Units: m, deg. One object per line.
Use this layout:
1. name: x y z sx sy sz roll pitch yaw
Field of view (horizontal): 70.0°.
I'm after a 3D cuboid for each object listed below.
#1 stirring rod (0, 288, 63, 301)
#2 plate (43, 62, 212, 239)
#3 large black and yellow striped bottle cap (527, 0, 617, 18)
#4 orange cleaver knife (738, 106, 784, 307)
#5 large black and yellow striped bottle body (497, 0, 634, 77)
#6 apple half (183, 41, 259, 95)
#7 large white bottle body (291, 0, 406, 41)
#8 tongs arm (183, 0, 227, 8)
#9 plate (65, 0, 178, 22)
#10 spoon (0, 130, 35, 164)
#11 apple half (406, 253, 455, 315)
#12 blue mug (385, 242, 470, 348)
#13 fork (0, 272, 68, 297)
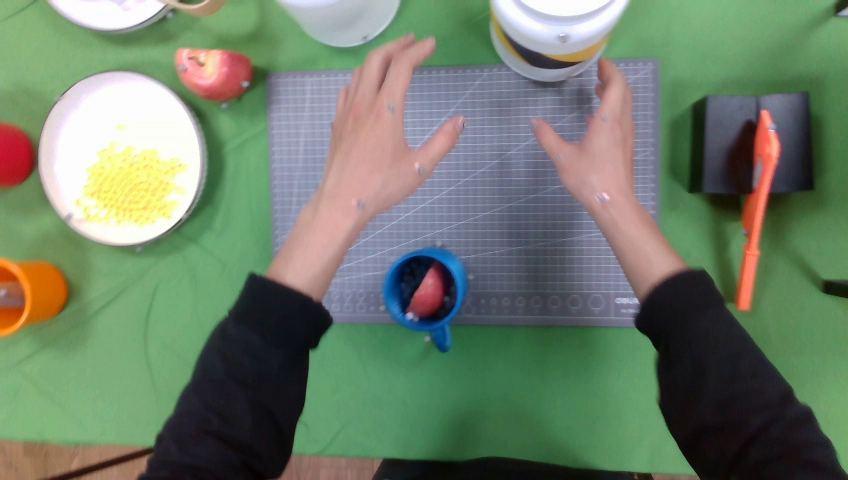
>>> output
1. stirring rod: -0.522 0.061 0.703 0.177 0.006 0.014 6 83 -34
2. plate: -0.350 -0.106 0.728 0.209 0.038 0.209 0 94 7
3. large black and yellow striped bottle cap: 0.127 -0.247 0.508 0.115 0.019 0.115 0 92 5
4. orange cleaver knife: 0.348 -0.030 0.633 0.012 0.077 0.213 3 120 15
5. large black and yellow striped bottle body: 0.137 -0.246 0.591 0.130 0.184 0.130 0 91 7
6. apple half: -0.230 -0.193 0.692 0.081 0.074 0.053 5 97 2
7. large white bottle body: -0.092 -0.292 0.615 0.130 0.185 0.130 0 92 7
8. tongs arm: -0.392 -0.350 0.686 0.384 0.026 0.051 29 92 6
9. plate: -0.350 -0.359 0.713 0.207 0.039 0.207 0 94 6
10. spoon: -0.565 -0.119 0.698 0.195 0.021 0.041 5 93 -37
11. apple half: 0.016 0.051 0.654 0.032 0.081 0.081 31 96 12
12. blue mug: 0.011 0.060 0.661 0.082 0.106 0.116 -15 91 7
13. fork: -0.530 0.041 0.700 0.209 0.018 0.028 14 95 -38
